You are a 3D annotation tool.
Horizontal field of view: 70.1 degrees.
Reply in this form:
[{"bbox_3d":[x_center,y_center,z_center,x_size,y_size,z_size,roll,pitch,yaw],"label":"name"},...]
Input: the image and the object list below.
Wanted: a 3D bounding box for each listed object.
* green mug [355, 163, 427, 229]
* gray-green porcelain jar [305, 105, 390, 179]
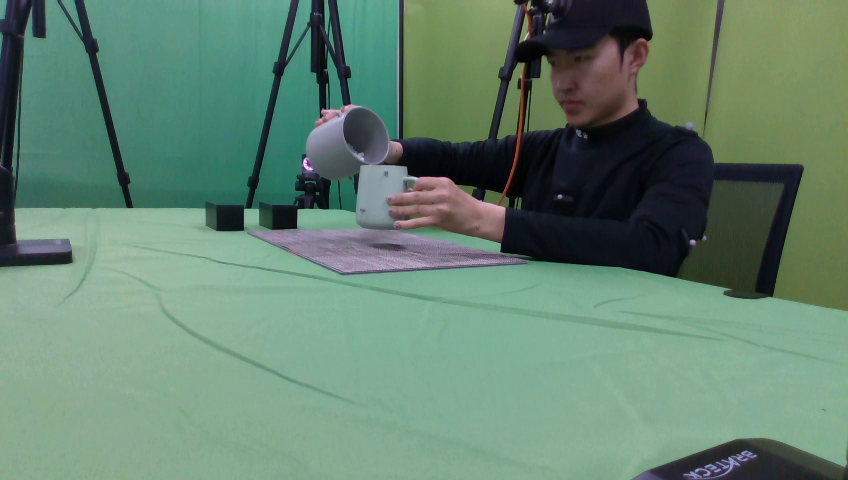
[{"bbox_3d":[-0.053,-0.073,1.001,0.125,0.105,0.093,4,6,23],"label":"green mug"},{"bbox_3d":[-0.141,-0.170,1.074,0.106,0.105,0.126,-5,-7,-44],"label":"gray-green porcelain jar"}]
